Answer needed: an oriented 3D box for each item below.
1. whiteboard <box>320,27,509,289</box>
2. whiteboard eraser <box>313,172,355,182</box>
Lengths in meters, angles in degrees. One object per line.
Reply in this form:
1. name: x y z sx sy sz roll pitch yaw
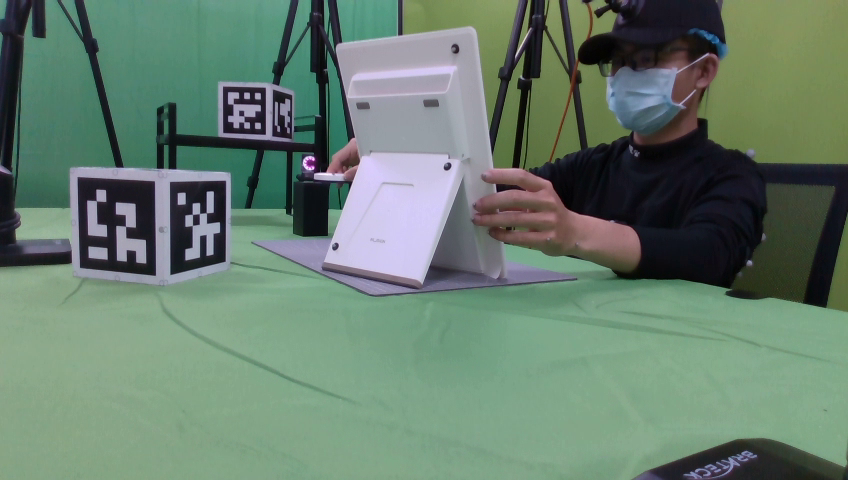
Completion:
1. whiteboard: -0.045 -0.076 0.721 0.216 0.305 0.144 9 29 39
2. whiteboard eraser: -0.164 -0.121 1.163 0.102 0.019 0.041 -1 7 -29
